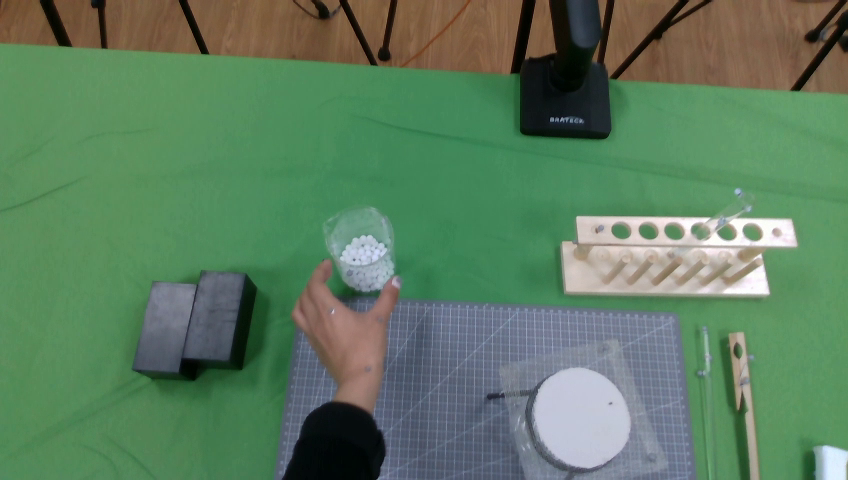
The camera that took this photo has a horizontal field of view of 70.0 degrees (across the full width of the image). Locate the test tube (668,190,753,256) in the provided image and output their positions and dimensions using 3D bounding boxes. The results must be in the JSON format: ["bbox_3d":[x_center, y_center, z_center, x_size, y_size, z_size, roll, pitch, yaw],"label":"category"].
[{"bbox_3d":[0.310,-0.014,0.666,0.017,0.151,0.017,3,67,-6],"label":"test tube"}]

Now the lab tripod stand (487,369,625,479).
[{"bbox_3d":[0.132,0.185,0.605,0.148,0.132,0.147,0,68,1],"label":"lab tripod stand"}]

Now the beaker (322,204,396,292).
[{"bbox_3d":[-0.072,0.013,0.694,0.084,0.101,0.073,20,68,8],"label":"beaker"}]

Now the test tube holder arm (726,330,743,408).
[{"bbox_3d":[0.356,0.147,0.691,0.010,0.015,0.087,-11,64,31],"label":"test tube holder arm"}]

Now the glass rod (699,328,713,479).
[{"bbox_3d":[0.315,0.196,0.675,0.008,0.008,0.198,6,71,1],"label":"glass rod"}]

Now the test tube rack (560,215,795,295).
[{"bbox_3d":[0.290,0.019,0.705,0.242,0.086,0.066,1,67,-1],"label":"test tube rack"}]

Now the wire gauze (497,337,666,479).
[{"bbox_3d":[0.138,0.158,0.544,0.121,0.011,0.124,-13,68,-5],"label":"wire gauze"}]

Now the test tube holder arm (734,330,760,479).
[{"bbox_3d":[0.358,0.188,0.672,0.013,0.015,0.177,-11,64,31],"label":"test tube holder arm"}]

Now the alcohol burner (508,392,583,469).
[{"bbox_3d":[0.126,0.190,0.614,0.078,0.120,0.077,0,66,0],"label":"alcohol burner"}]

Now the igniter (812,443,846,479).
[{"bbox_3d":[0.405,0.346,0.605,0.057,0.025,0.275,17,68,-5],"label":"igniter"}]
